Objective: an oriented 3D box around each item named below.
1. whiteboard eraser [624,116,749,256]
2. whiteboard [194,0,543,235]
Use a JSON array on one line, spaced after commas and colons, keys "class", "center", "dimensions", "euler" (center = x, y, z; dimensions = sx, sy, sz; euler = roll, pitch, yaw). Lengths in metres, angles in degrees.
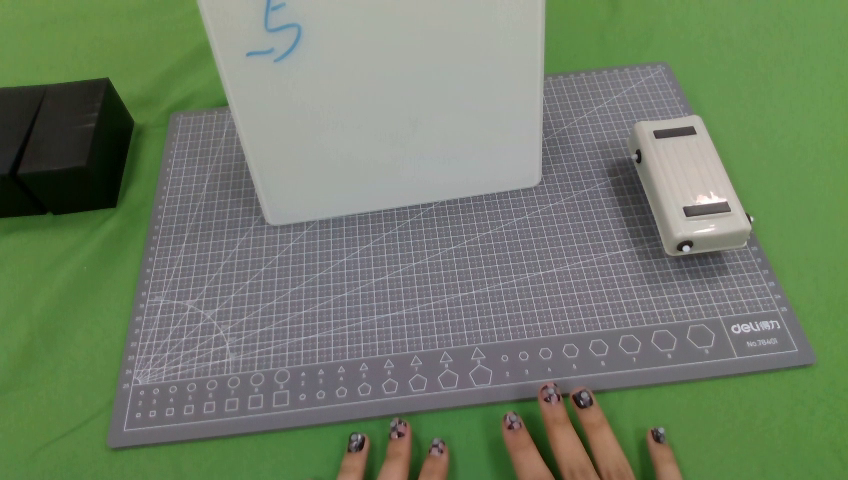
[{"class": "whiteboard eraser", "center": [0.189, -0.039, 0.445], "dimensions": [0.055, 0.042, 0.111], "euler": [-5, 55, -1]}, {"class": "whiteboard", "center": [-0.037, -0.182, 0.433], "dimensions": [0.217, 0.308, 0.142], "euler": [-8, 36, -2]}]
